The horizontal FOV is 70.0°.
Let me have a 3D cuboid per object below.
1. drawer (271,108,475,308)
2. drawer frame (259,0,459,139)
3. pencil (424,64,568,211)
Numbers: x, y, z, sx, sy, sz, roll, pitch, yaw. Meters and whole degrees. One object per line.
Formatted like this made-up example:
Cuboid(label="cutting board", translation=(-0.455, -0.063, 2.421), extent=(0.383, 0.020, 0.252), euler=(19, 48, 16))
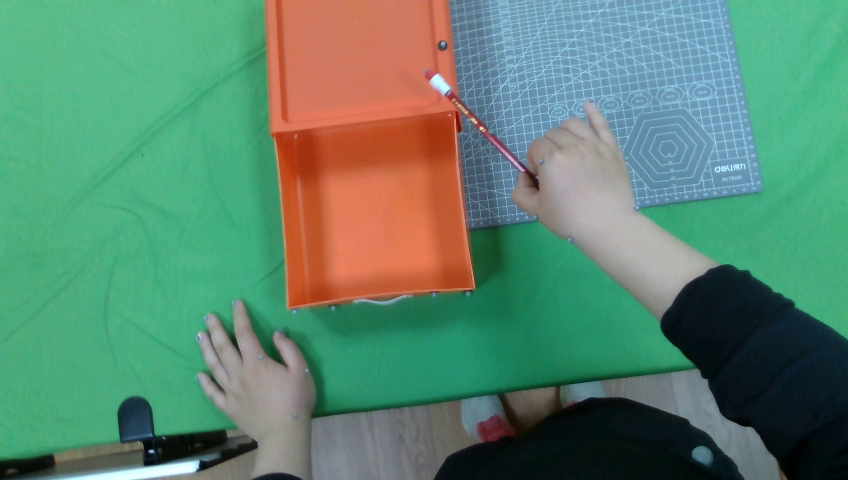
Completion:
Cuboid(label="drawer", translation=(-0.053, -0.039, 0.650), extent=(0.194, 0.073, 0.211), euler=(-7, 84, 6))
Cuboid(label="drawer frame", translation=(-0.074, -0.216, 0.670), extent=(0.201, 0.083, 0.212), euler=(-8, 81, 6))
Cuboid(label="pencil", translation=(0.068, -0.097, 0.575), extent=(0.012, 0.012, 0.193), euler=(-43, 85, 0))
